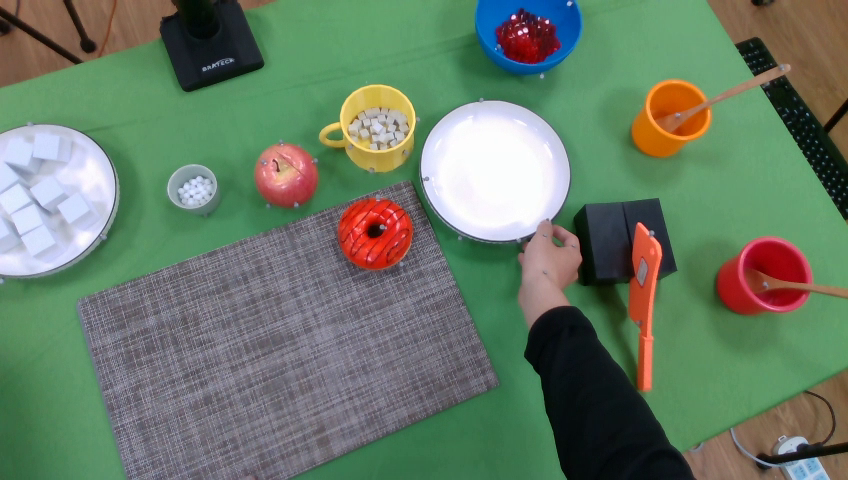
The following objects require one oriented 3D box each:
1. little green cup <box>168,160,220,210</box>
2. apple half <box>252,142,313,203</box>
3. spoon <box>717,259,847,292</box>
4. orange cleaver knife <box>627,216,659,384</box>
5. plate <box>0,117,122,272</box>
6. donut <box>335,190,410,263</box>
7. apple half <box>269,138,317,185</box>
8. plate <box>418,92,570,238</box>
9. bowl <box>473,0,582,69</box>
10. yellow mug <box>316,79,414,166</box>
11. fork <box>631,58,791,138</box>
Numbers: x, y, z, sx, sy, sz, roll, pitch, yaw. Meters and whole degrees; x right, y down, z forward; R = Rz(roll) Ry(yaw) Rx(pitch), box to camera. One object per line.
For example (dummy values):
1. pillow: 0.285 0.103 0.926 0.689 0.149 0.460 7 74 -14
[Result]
1. little green cup: -0.298 -0.069 0.792 0.061 0.039 0.061 1 74 -3
2. apple half: -0.190 -0.079 0.785 0.080 0.075 0.053 41 80 4
3. spoon: 0.469 0.052 0.757 0.192 0.022 0.041 8 62 45
4. orange cleaver knife: 0.272 0.077 0.765 0.012 0.076 0.212 -3 107 -2
5. plate: -0.491 -0.056 0.774 0.208 0.039 0.206 1 74 -4
6. donut: -0.067 -0.017 0.786 0.099 0.048 0.098 1 76 -2
7. apple half: -0.164 -0.108 0.793 0.081 0.081 0.033 40 80 8
8. plate: 0.094 -0.100 0.828 0.209 0.038 0.208 1 74 -3
9. bowl: 0.140 -0.301 0.867 0.151 0.077 0.150 1 75 -3
10. yellow mug: -0.080 -0.154 0.817 0.131 0.064 0.099 -11 75 -6
11. fork: 0.381 -0.190 0.816 0.207 0.019 0.028 -25 69 35
